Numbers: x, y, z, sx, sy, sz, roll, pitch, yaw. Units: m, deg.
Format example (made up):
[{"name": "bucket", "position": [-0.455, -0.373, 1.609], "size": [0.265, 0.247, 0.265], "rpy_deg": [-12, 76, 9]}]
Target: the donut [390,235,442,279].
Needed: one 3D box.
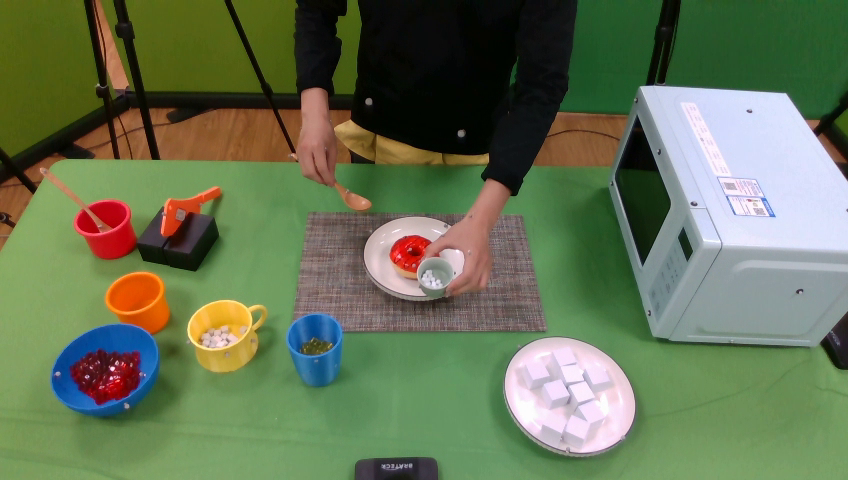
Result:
[{"name": "donut", "position": [-0.016, 0.032, 1.135], "size": [0.099, 0.048, 0.098], "rpy_deg": [3, 44, -3]}]

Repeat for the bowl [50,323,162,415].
[{"name": "bowl", "position": [-0.472, 0.209, 0.924], "size": [0.151, 0.077, 0.150], "rpy_deg": [3, 45, -2]}]

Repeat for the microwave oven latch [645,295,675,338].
[{"name": "microwave oven latch", "position": [0.412, 0.134, 1.061], "size": [0.030, 0.029, 0.078], "rpy_deg": [3, 45, 0]}]

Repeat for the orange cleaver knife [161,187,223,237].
[{"name": "orange cleaver knife", "position": [-0.448, -0.058, 1.181], "size": [0.012, 0.077, 0.211], "rpy_deg": [13, 17, 6]}]

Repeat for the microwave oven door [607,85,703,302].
[{"name": "microwave oven door", "position": [0.423, -0.094, 1.141], "size": [0.039, 0.245, 0.353], "rpy_deg": [2, 46, -1]}]

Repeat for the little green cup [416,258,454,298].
[{"name": "little green cup", "position": [0.018, 0.064, 0.997], "size": [0.061, 0.039, 0.061], "rpy_deg": [1, 58, -1]}]

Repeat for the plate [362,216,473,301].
[{"name": "plate", "position": [-0.012, 0.038, 1.145], "size": [0.209, 0.038, 0.208], "rpy_deg": [2, 46, -2]}]

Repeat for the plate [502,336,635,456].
[{"name": "plate", "position": [0.225, 0.248, 0.963], "size": [0.208, 0.039, 0.206], "rpy_deg": [2, 46, -2]}]

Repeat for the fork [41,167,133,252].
[{"name": "fork", "position": [-0.624, -0.056, 1.121], "size": [0.208, 0.018, 0.028], "rpy_deg": [49, 51, -15]}]

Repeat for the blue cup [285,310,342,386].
[{"name": "blue cup", "position": [-0.169, 0.179, 0.958], "size": [0.093, 0.101, 0.092], "rpy_deg": [1, 44, -1]}]

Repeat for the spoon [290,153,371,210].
[{"name": "spoon", "position": [-0.180, -0.114, 1.152], "size": [0.193, 0.022, 0.041], "rpy_deg": [39, 45, 12]}]

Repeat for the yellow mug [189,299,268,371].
[{"name": "yellow mug", "position": [-0.316, 0.148, 1.002], "size": [0.131, 0.064, 0.099], "rpy_deg": [-32, 56, -31]}]

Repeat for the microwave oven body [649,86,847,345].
[{"name": "microwave oven body", "position": [0.568, -0.053, 1.118], "size": [0.326, 0.261, 0.439], "rpy_deg": [2, 45, -1]}]
